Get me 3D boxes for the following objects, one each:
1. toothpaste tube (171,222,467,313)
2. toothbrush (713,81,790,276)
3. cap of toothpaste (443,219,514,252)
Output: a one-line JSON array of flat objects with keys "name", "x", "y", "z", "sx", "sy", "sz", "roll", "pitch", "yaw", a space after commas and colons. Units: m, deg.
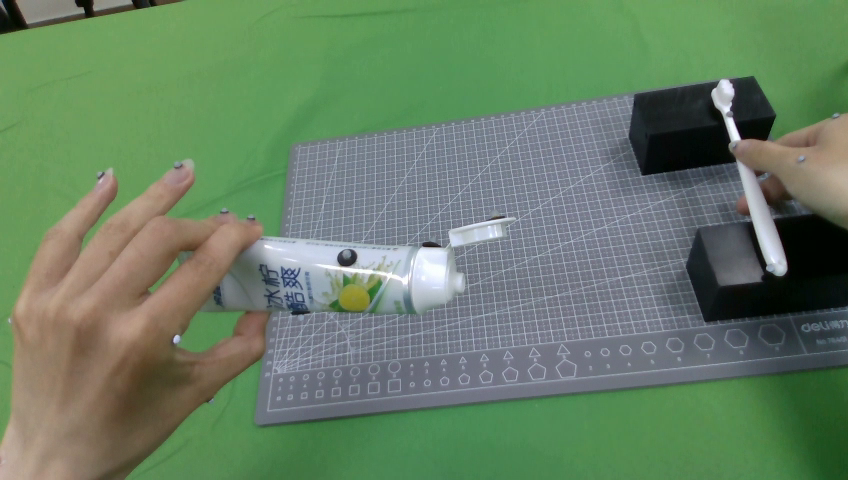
[{"name": "toothpaste tube", "x": -0.058, "y": 0.016, "z": 0.324, "sx": 0.164, "sy": 0.055, "sz": 0.034, "roll": 1, "pitch": 22, "yaw": 15}, {"name": "toothbrush", "x": 0.240, "y": -0.053, "z": 0.447, "sx": 0.014, "sy": 0.017, "sz": 0.180, "roll": 5, "pitch": 56, "yaw": -2}, {"name": "cap of toothpaste", "x": 0.028, "y": -0.002, "z": 0.301, "sx": 0.037, "sy": 0.037, "sz": 0.011, "roll": -13, "pitch": 85, "yaw": 2}]
